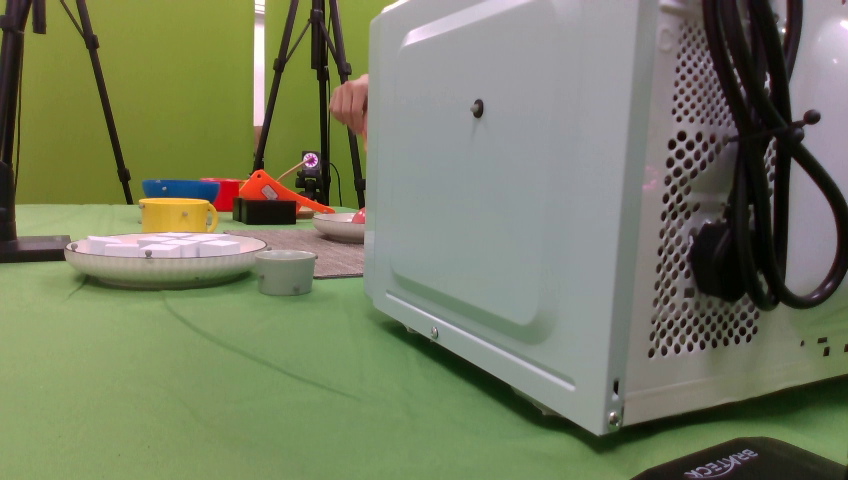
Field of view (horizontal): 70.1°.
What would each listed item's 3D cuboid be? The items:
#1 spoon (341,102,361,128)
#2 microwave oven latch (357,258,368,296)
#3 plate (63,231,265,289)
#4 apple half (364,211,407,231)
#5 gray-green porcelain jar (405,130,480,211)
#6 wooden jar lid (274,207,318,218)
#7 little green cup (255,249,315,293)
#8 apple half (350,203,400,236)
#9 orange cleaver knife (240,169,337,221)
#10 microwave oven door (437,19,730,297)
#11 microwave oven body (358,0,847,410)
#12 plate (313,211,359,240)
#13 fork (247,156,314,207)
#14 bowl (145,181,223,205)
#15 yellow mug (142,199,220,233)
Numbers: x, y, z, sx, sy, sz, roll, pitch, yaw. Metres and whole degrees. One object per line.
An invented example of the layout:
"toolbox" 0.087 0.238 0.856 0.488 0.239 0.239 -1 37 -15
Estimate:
"spoon" -0.114 -0.202 1.113 0.042 0.021 0.193 47 10 -51
"microwave oven latch" -0.019 0.031 0.528 0.079 0.029 0.030 -1 7 -25
"plate" -0.288 0.021 0.687 0.208 0.039 0.207 2 8 0
"apple half" -0.068 -0.037 1.104 0.081 0.033 0.081 -1 9 1
"gray-green porcelain jar" 0.039 -0.125 1.128 0.106 0.127 0.105 -24 21 10
"wooden jar lid" -0.303 -0.065 1.409 0.108 0.020 0.108 3 9 0
"little green cup" -0.144 0.031 0.627 0.061 0.038 0.061 2 6 0
"apple half" -0.081 -0.036 1.024 0.081 0.053 0.074 -2 10 -33
"orange cleaver knife" -0.287 -0.081 1.298 0.212 0.077 0.012 25 -3 -31
"microwave oven door" 0.181 -0.076 0.618 0.358 0.243 0.039 -2 9 -28
"microwave oven body" 0.210 -0.051 0.471 0.444 0.260 0.324 -1 7 -28
"plate" -0.090 -0.026 1.063 0.209 0.038 0.209 2 7 0
"fork" -0.360 -0.147 1.523 0.207 0.019 0.028 -43 16 -7
"bowl" -0.499 -0.081 1.261 0.151 0.077 0.151 2 8 0
"yellow mug" -0.373 -0.030 0.948 0.099 0.064 0.131 6 8 29
